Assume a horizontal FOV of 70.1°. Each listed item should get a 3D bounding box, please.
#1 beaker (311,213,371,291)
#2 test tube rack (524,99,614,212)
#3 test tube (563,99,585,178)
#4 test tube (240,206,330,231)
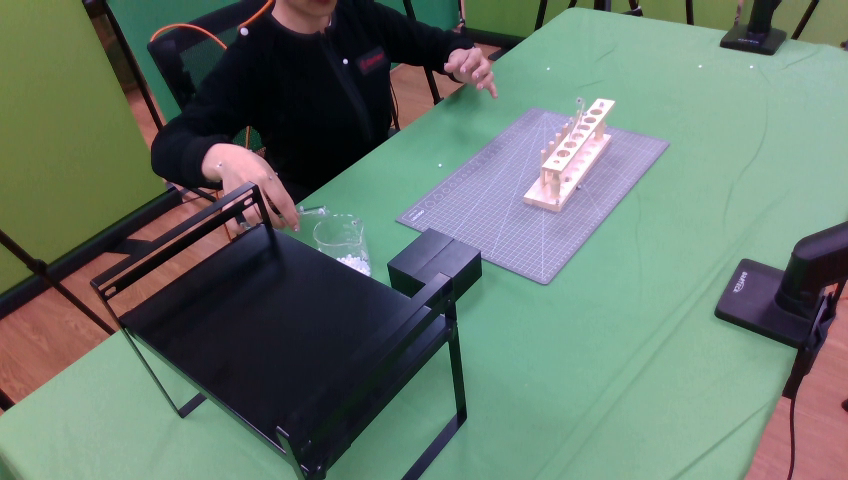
[{"bbox_3d":[-0.118,0.022,0.908,0.083,0.101,0.074,26,51,32],"label":"beaker"},{"bbox_3d":[0.259,-0.158,1.069,0.066,0.085,0.243,19,47,28],"label":"test tube rack"},{"bbox_3d":[0.247,-0.164,1.001,0.017,0.151,0.017,-1,42,1],"label":"test tube"},{"bbox_3d":[-0.207,-0.031,0.888,0.150,0.017,0.017,-9,38,19],"label":"test tube"}]
